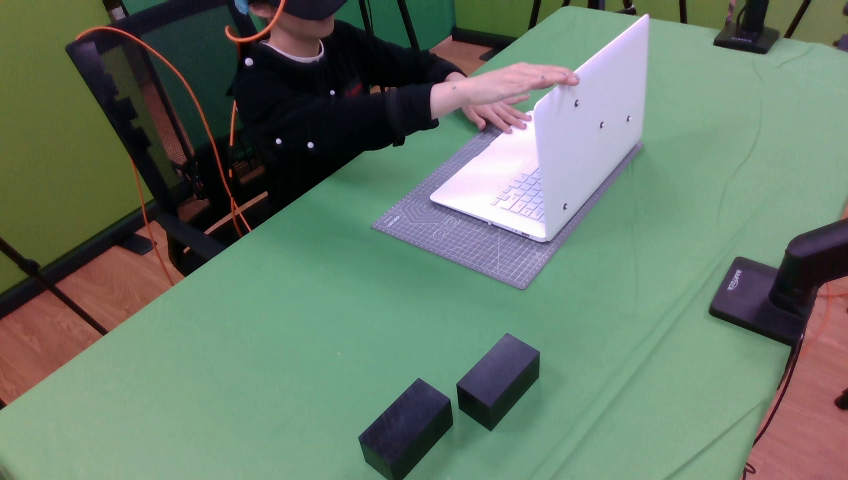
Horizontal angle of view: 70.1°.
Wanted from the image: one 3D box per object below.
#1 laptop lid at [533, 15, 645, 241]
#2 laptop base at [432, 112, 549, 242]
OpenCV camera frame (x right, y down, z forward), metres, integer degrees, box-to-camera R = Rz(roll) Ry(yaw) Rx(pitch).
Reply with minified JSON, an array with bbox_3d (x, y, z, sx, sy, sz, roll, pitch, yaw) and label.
[{"bbox_3d":[0.279,-0.184,0.965,0.013,0.243,0.358,17,44,37],"label":"laptop lid"},{"bbox_3d":[0.208,-0.128,1.098,0.233,0.023,0.355,20,47,33],"label":"laptop base"}]
